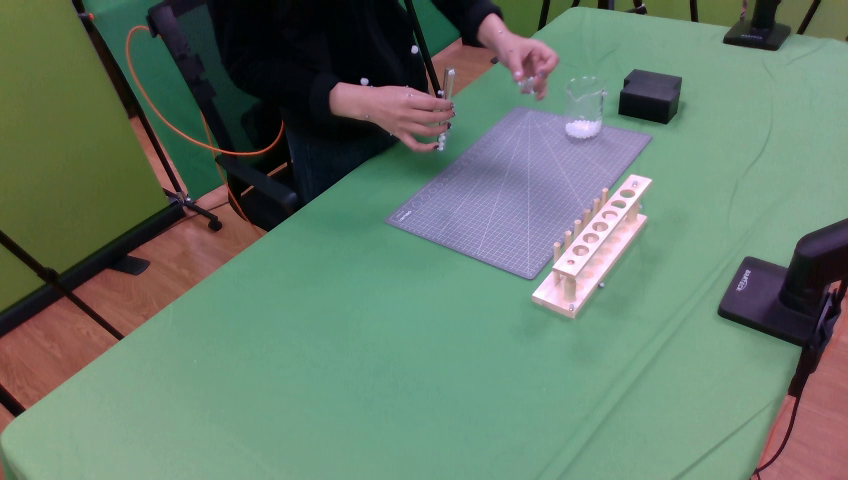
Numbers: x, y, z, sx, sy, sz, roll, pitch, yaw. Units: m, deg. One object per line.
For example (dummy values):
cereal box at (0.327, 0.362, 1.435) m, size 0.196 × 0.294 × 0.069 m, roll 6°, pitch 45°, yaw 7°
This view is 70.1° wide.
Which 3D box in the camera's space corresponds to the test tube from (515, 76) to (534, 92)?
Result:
test tube at (0.165, -0.258, 0.997) m, size 0.017 × 0.017 × 0.150 m, roll -6°, pitch 18°, yaw 4°

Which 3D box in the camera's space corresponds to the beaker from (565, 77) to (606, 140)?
beaker at (0.304, -0.247, 1.153) m, size 0.073 × 0.101 × 0.084 m, roll 15°, pitch 46°, yaw 27°

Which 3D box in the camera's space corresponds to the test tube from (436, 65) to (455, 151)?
test tube at (0.034, -0.214, 0.997) m, size 0.017 × 0.151 × 0.017 m, roll 4°, pitch 37°, yaw -3°

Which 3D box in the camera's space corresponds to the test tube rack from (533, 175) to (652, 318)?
test tube rack at (0.250, -0.001, 0.889) m, size 0.066 × 0.085 × 0.243 m, roll 22°, pitch 49°, yaw 33°
